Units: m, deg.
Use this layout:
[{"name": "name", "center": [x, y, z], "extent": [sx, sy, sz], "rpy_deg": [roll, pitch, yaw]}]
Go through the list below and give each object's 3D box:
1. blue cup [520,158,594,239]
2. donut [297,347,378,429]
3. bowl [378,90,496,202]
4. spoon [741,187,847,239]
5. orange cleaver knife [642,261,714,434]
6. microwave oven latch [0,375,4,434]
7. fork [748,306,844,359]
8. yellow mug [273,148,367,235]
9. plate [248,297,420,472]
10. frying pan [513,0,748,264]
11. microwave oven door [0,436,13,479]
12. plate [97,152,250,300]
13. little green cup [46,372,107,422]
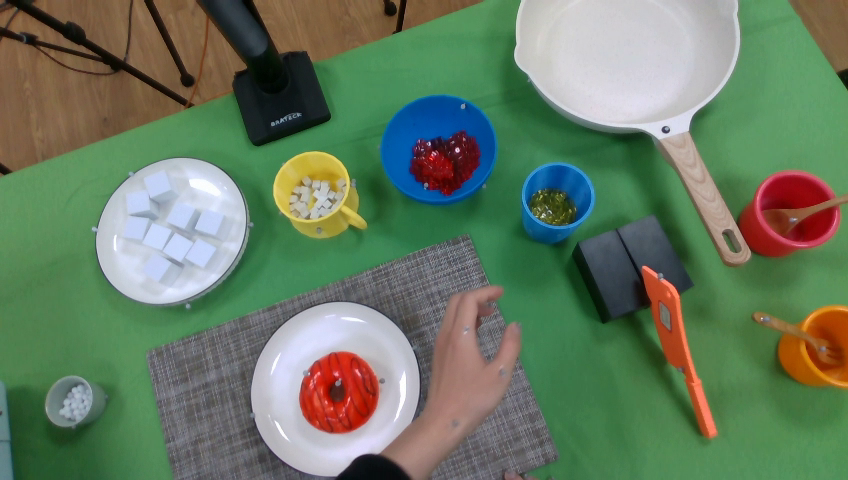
[{"name": "blue cup", "center": [0.159, -0.043, 0.757], "extent": [0.092, 0.101, 0.092], "rpy_deg": [-1, 74, 3]}, {"name": "donut", "center": [-0.104, 0.178, 0.730], "extent": [0.099, 0.048, 0.098], "rpy_deg": [-1, 77, 5]}, {"name": "bowl", "center": [0.019, -0.112, 0.802], "extent": [0.151, 0.077, 0.150], "rpy_deg": [-1, 74, 4]}, {"name": "spoon", "center": [0.473, -0.046, 0.711], "extent": [0.193, 0.022, 0.041], "rpy_deg": [-27, 66, 43]}, {"name": "orange cleaver knife", "center": [0.294, 0.124, 0.707], "extent": [0.012, 0.077, 0.212], "rpy_deg": [-21, 102, -2]}, {"name": "microwave oven latch", "center": [-0.545, 0.204, 0.754], "extent": [0.030, 0.029, 0.078], "rpy_deg": [-14, 74, 0]}, {"name": "fork", "center": [0.415, 0.102, 0.668], "extent": [0.209, 0.018, 0.028], "rpy_deg": [22, 71, -35]}, {"name": "yellow mug", "center": [-0.130, -0.056, 0.803], "extent": [0.130, 0.064, 0.100], "rpy_deg": [31, 78, 12]}, {"name": "plate", "center": [-0.107, 0.174, 0.743], "extent": [0.209, 0.038, 0.208], "rpy_deg": [-1, 74, 4]}, {"name": "frying pan", "center": [0.293, -0.187, 0.788], "extent": [0.307, 0.103, 0.483], "rpy_deg": [-16, 65, 1]}, {"name": "microwave oven door", "center": [-0.492, 0.375, 0.593], "extent": [0.039, 0.245, 0.353], "rpy_deg": [-18, 72, -1]}, {"name": "plate", "center": [-0.334, -0.018, 0.823], "extent": [0.207, 0.039, 0.206], "rpy_deg": [-1, 74, 4]}, {"name": "little green cup", "center": [-0.437, 0.199, 0.766], "extent": [0.061, 0.039, 0.061], "rpy_deg": [-1, 75, 3]}]
